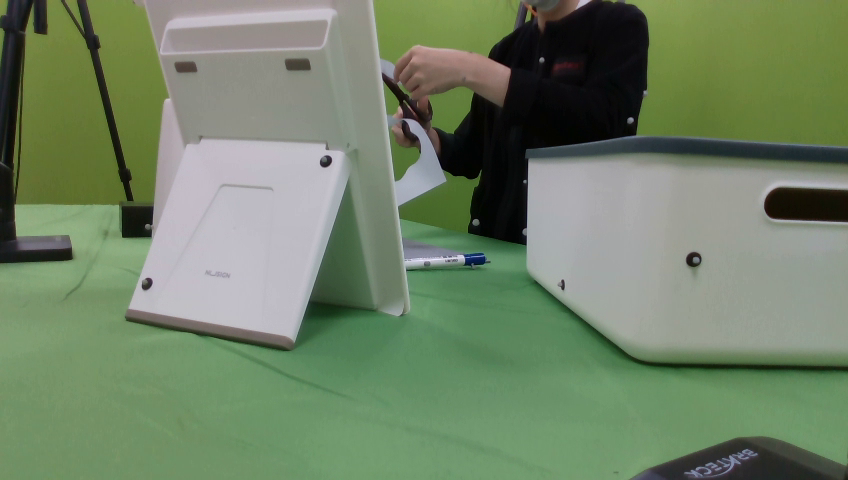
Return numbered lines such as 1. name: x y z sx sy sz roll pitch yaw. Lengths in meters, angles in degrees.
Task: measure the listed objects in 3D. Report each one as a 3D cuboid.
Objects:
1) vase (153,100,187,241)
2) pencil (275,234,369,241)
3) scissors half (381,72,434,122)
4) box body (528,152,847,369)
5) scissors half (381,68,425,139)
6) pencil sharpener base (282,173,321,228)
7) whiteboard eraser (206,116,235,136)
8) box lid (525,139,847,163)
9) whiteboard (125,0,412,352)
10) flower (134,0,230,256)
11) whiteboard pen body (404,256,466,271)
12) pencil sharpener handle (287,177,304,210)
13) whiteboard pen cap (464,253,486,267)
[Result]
1. vase: -0.278 -0.066 0.736 0.098 0.200 0.098 2 9 0
2. pencil: -0.169 -0.006 1.037 0.012 0.012 0.195 10 8 44
3. scissors half: -0.032 -0.257 1.062 0.013 0.040 0.176 14 -6 36
4. box body: 0.257 -0.005 0.591 0.254 0.160 0.363 2 7 -4
5. scissors half: -0.042 -0.239 1.058 0.012 0.040 0.176 20 -23 38
6. pencil sharpener base: -0.247 -0.080 1.212 0.061 0.107 0.076 -2 5 -28
7. whiteboard eraser: -0.450 -0.252 1.335 0.056 0.042 0.112 1 7 -22
8. box lid: 0.261 -0.078 0.580 0.264 0.015 0.371 2 7 -4
9. whiteboard: -0.151 -0.049 0.472 0.216 0.305 0.144 6 27 24
10. flower: -0.282 -0.147 0.713 0.038 0.362 0.044 -23 24 -31
11. whiteboard pen body: 0.013 0.030 0.792 0.141 0.017 0.017 -2 9 -24
12. pencil sharpener handle: -0.269 -0.096 1.257 0.036 0.067 0.030 -8 8 -27
13. whiteboard pen cap: 0.066 0.027 0.818 0.033 0.018 0.018 -5 10 -24
